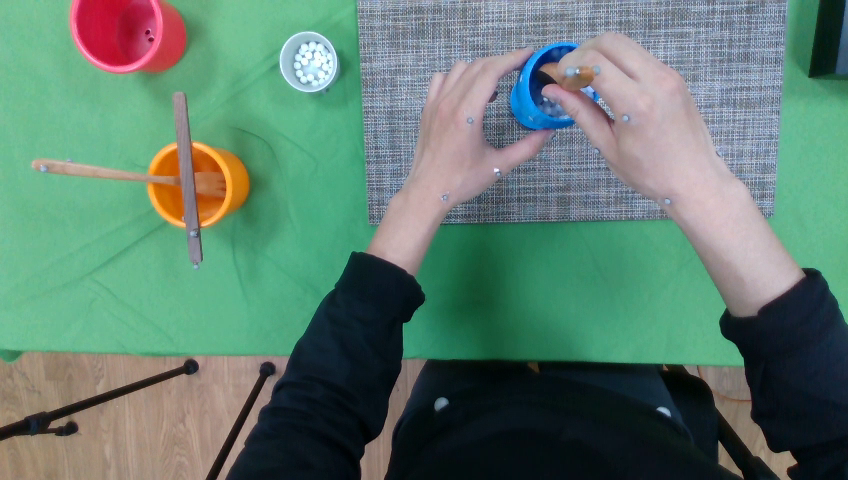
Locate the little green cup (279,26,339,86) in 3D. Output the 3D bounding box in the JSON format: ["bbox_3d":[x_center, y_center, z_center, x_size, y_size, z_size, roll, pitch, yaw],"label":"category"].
[{"bbox_3d":[-0.121,-0.196,0.653,0.061,0.038,0.062,1,101,4],"label":"little green cup"}]

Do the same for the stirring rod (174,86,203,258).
[{"bbox_3d":[-0.244,-0.068,0.626,0.014,0.006,0.176,-1,100,4],"label":"stirring rod"}]

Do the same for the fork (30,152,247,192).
[{"bbox_3d":[-0.286,-0.071,0.631,0.209,0.018,0.028,3,111,-41],"label":"fork"}]

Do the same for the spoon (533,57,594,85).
[{"bbox_3d":[0.105,-0.122,0.445,0.041,0.193,0.022,18,109,1],"label":"spoon"}]

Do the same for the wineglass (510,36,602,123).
[{"bbox_3d":[0.119,-0.147,0.575,0.074,0.172,0.074,1,99,4],"label":"wineglass"}]
